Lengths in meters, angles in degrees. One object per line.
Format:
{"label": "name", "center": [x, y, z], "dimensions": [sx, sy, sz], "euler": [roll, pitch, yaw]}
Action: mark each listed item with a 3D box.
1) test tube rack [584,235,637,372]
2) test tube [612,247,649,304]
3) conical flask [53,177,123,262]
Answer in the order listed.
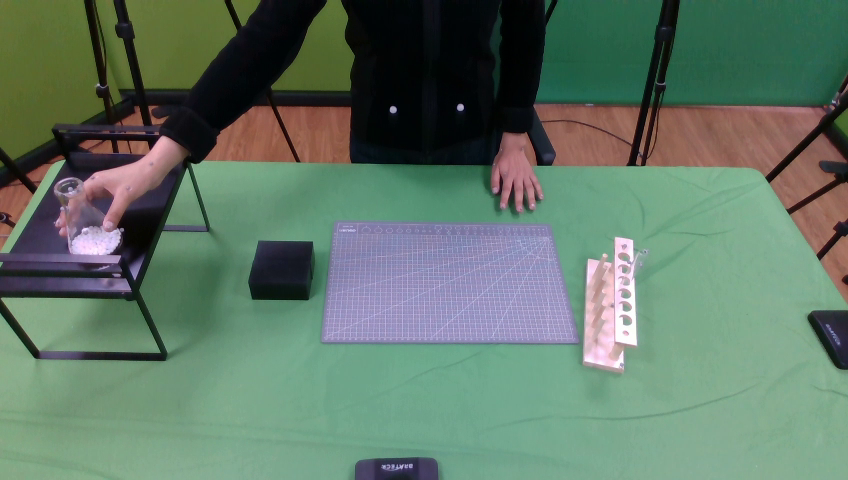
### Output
{"label": "test tube rack", "center": [0.329, 0.103, 1.073], "dimensions": [0.067, 0.085, 0.241], "euler": [11, 47, 7]}
{"label": "test tube", "center": [0.352, 0.065, 1.044], "dimensions": [0.017, 0.151, 0.017], "euler": [3, 49, -4]}
{"label": "conical flask", "center": [-0.490, -0.033, 0.872], "dimensions": [0.075, 0.122, 0.075], "euler": [1, 46, -1]}
